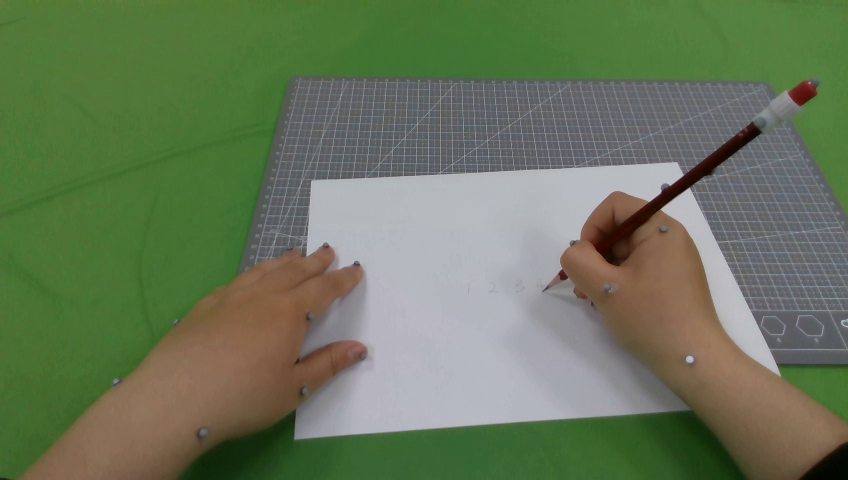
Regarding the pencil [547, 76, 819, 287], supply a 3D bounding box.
[{"bbox_3d":[0.133,-0.021,0.347,0.012,0.194,0.012,20,47,-23],"label":"pencil"}]
